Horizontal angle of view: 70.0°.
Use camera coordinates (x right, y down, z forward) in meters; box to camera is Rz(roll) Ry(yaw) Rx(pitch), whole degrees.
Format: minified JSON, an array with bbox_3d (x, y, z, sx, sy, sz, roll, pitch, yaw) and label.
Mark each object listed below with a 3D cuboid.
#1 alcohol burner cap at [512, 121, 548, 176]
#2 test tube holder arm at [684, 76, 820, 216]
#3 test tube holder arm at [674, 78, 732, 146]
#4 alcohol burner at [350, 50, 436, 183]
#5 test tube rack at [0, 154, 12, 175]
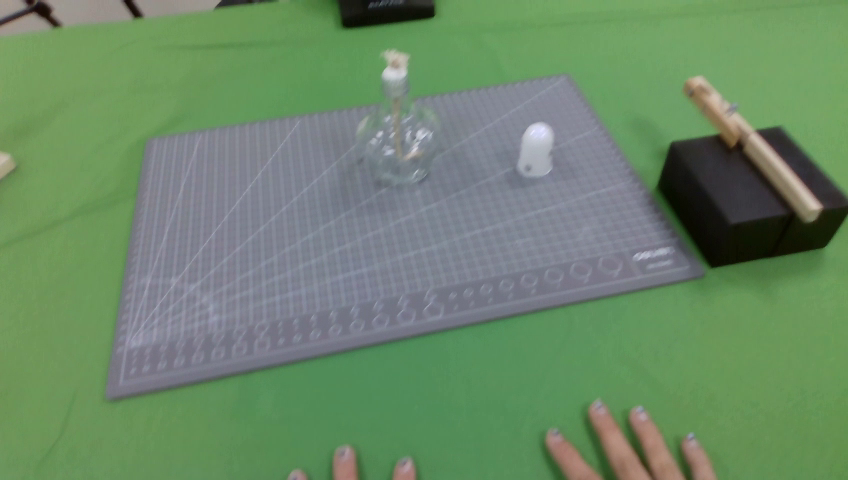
[{"bbox_3d":[0.098,-0.085,0.554,0.034,0.048,0.033,-2,47,2],"label":"alcohol burner cap"},{"bbox_3d":[0.263,-0.084,0.501,0.013,0.015,0.176,-20,48,-2],"label":"test tube holder arm"},{"bbox_3d":[0.246,-0.113,0.530,0.010,0.015,0.087,-19,48,-2],"label":"test tube holder arm"},{"bbox_3d":[-0.029,-0.110,0.532,0.078,0.120,0.077,-2,45,2],"label":"alcohol burner"},{"bbox_3d":[-0.480,-0.027,0.497,0.066,0.086,0.241,15,50,15],"label":"test tube rack"}]
